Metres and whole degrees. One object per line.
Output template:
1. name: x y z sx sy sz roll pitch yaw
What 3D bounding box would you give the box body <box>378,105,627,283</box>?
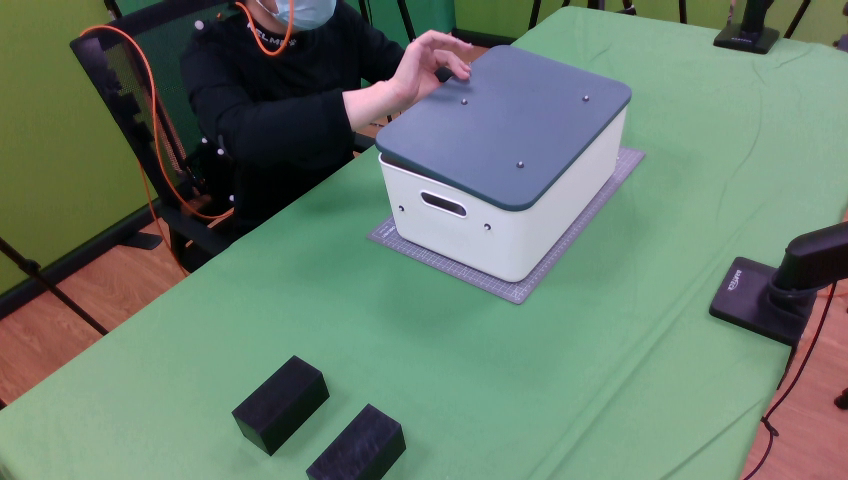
1. box body: 0.137 -0.121 0.978 0.252 0.161 0.365 23 49 30

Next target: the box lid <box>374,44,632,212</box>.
1. box lid: 0.131 -0.190 0.919 0.261 0.015 0.372 28 52 23
